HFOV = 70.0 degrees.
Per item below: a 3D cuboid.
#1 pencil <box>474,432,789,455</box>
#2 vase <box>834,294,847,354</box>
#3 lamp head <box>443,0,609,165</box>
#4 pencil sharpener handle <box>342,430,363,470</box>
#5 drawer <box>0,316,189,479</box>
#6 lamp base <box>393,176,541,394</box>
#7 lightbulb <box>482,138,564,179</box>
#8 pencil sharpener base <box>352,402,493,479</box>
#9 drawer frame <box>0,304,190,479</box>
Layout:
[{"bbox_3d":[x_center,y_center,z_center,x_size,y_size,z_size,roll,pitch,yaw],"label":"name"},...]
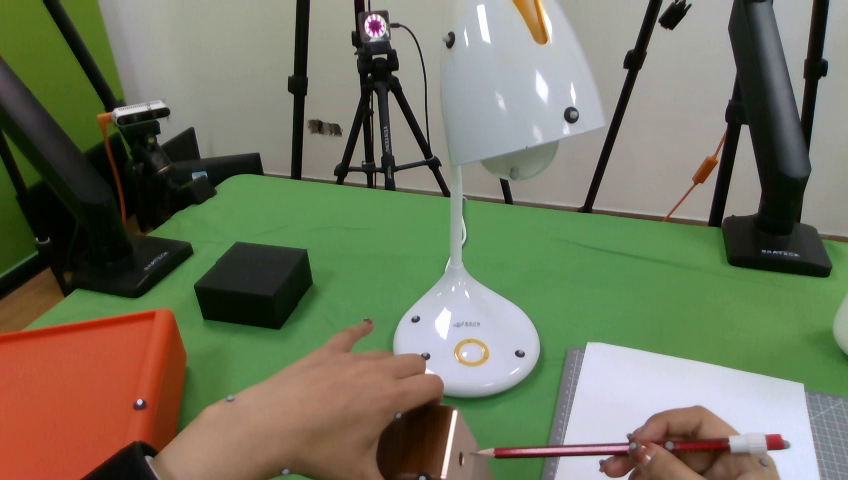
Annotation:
[{"bbox_3d":[0.122,0.131,0.386,0.193,0.012,0.012,-11,27,24],"label":"pencil"},{"bbox_3d":[0.477,0.035,0.588,0.098,0.201,0.097,-2,30,2],"label":"vase"},{"bbox_3d":[0.060,-0.121,0.424,0.112,0.123,0.112,-16,3,1],"label":"lamp head"},{"bbox_3d":[-0.051,0.174,0.466,0.030,0.068,0.035,-7,36,21],"label":"pencil sharpener handle"},{"bbox_3d":[-0.327,0.166,0.540,0.195,0.074,0.209,-9,31,-9],"label":"drawer"},{"bbox_3d":[0.041,0.037,0.632,0.161,0.181,0.177,-8,30,-10],"label":"lamp base"},{"bbox_3d":[0.065,-0.096,0.421,0.059,0.108,0.059,-5,8,1],"label":"lightbulb"},{"bbox_3d":[0.000,0.176,0.457,0.076,0.108,0.061,-8,41,21],"label":"pencil sharpener base"},{"bbox_3d":[-0.330,0.164,0.541,0.202,0.083,0.211,-9,32,-10],"label":"drawer frame"}]
